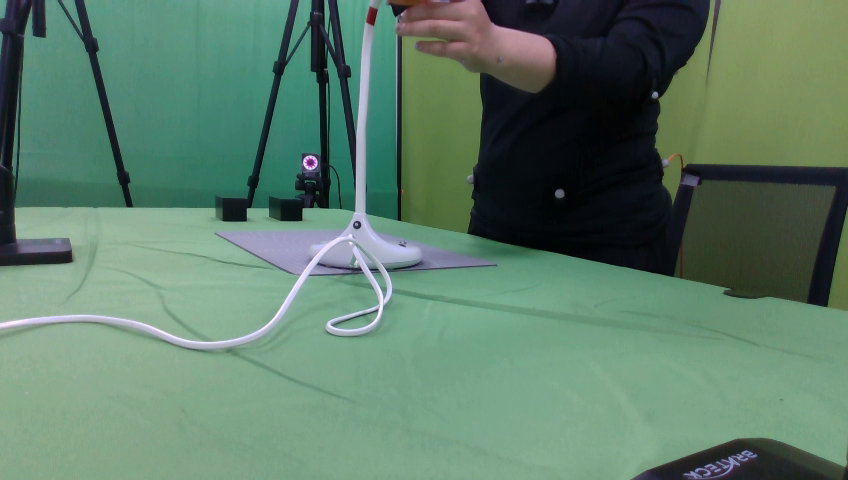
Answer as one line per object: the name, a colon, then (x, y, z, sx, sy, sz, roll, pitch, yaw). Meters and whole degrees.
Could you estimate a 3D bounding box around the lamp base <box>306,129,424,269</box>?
lamp base: (-0.077, -0.057, 0.810, 0.161, 0.180, 0.179, 2, 10, -4)

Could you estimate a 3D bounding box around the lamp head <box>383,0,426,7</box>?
lamp head: (-0.024, -0.325, 0.671, 0.112, 0.123, 0.112, 4, 3, 0)
